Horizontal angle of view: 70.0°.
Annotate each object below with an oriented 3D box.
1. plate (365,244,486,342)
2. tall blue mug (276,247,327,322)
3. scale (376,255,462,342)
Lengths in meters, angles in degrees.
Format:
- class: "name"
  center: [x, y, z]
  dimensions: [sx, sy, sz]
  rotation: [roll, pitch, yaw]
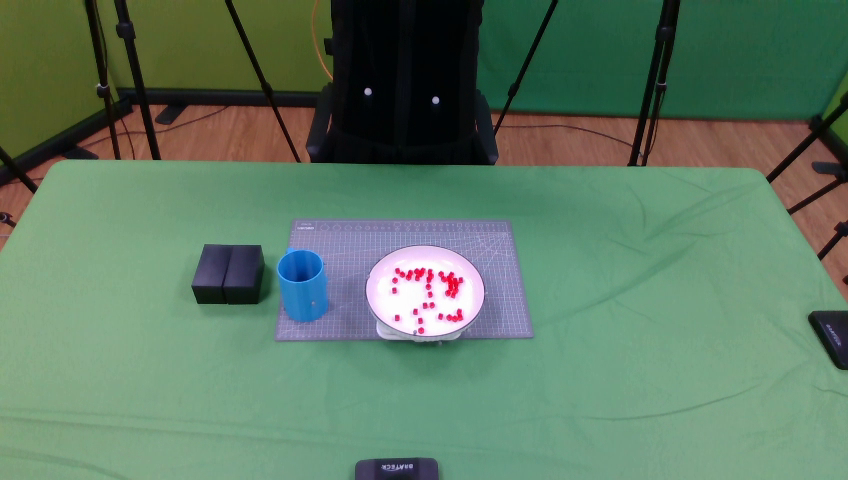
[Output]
- class: "plate"
  center: [0.001, 0.093, 1.051]
  dimensions: [0.209, 0.038, 0.208]
  rotation: [1, 46, -1]
- class: "tall blue mug"
  center: [-0.221, 0.072, 1.049]
  dimensions: [0.107, 0.108, 0.077]
  rotation: [30, 52, 23]
- class: "scale"
  center: [-0.010, 0.096, 1.094]
  dimensions: [0.149, 0.032, 0.199]
  rotation: [2, 46, -3]
